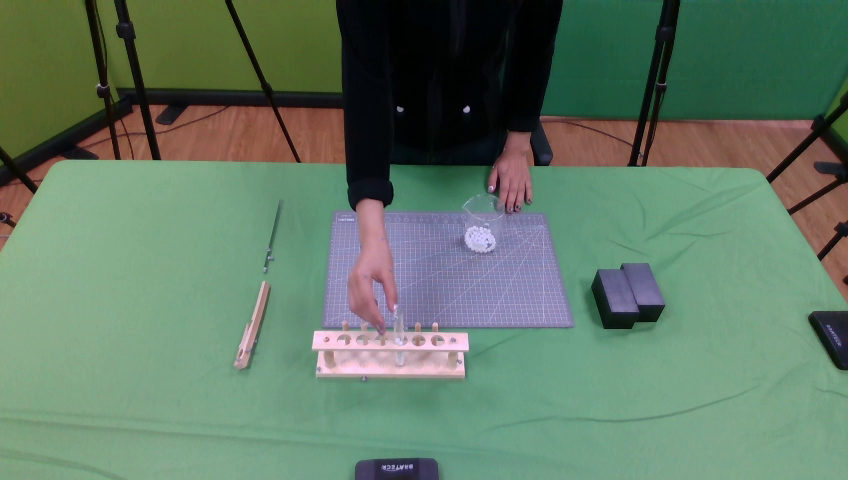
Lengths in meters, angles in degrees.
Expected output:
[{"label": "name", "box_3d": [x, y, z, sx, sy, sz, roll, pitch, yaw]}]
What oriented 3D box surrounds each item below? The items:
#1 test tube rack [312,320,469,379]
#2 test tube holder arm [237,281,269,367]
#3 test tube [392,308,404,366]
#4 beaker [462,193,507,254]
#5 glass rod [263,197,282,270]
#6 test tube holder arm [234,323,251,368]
[{"label": "test tube rack", "box_3d": [-0.054, 0.173, 0.984, 0.242, 0.085, 0.066, 1, 46, -3]}, {"label": "test tube holder arm", "box_3d": [-0.292, 0.141, 1.043, 0.013, 0.015, 0.177, -22, 39, 23]}, {"label": "test tube", "box_3d": [-0.039, 0.153, 0.935, 0.017, 0.151, 0.017, 0, 49, 0]}, {"label": "beaker", "box_3d": [0.113, -0.030, 1.177, 0.084, 0.101, 0.073, 6, 46, 3]}, {"label": "glass rod", "box_3d": [-0.299, -0.017, 1.202, 0.008, 0.008, 0.198, 1, 46, -2]}, {"label": "test tube holder arm", "box_3d": [-0.299, 0.174, 1.013, 0.010, 0.015, 0.087, -21, 39, 25]}]
